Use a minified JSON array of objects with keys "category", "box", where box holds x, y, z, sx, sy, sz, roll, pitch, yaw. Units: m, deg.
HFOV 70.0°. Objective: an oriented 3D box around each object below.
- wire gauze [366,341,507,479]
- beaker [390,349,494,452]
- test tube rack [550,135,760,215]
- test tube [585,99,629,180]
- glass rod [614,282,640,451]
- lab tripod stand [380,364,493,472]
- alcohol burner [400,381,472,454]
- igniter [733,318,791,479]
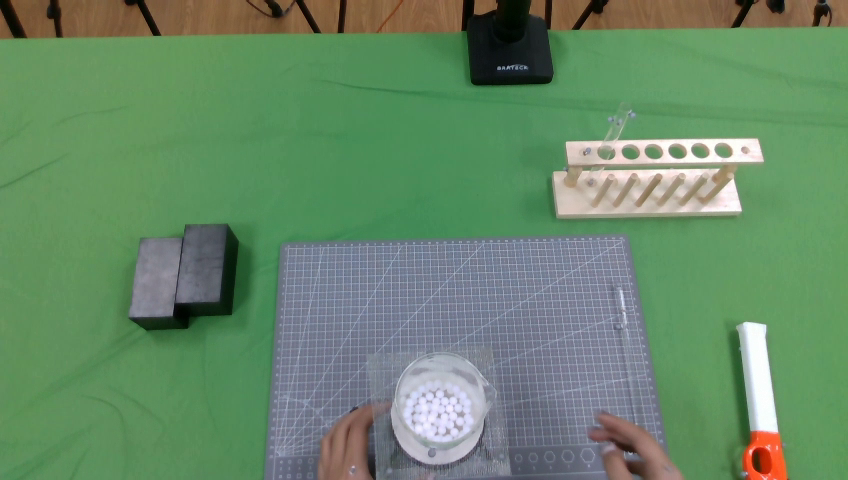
[{"category":"wire gauze","box":[0.010,0.158,0.569,0.125,0.011,0.120,-5,65,-1]},{"category":"beaker","box":[0.014,0.142,0.524,0.084,0.101,0.073,-6,66,-4]},{"category":"test tube rack","box":[0.294,-0.082,0.781,0.242,0.086,0.066,-1,66,-2]},{"category":"test tube","box":[0.221,-0.119,0.741,0.017,0.151,0.017,0,63,0]},{"category":"glass rod","box":[0.241,0.146,0.720,0.008,0.008,0.198,0,69,-2]},{"category":"lab tripod stand","box":[0.009,0.187,0.629,0.148,0.132,0.147,0,66,1]},{"category":"alcohol burner","box":[0.014,0.184,0.640,0.078,0.120,0.077,1,65,-3]},{"category":"igniter","box":[0.381,0.223,0.684,0.057,0.025,0.274,9,67,-9]}]
